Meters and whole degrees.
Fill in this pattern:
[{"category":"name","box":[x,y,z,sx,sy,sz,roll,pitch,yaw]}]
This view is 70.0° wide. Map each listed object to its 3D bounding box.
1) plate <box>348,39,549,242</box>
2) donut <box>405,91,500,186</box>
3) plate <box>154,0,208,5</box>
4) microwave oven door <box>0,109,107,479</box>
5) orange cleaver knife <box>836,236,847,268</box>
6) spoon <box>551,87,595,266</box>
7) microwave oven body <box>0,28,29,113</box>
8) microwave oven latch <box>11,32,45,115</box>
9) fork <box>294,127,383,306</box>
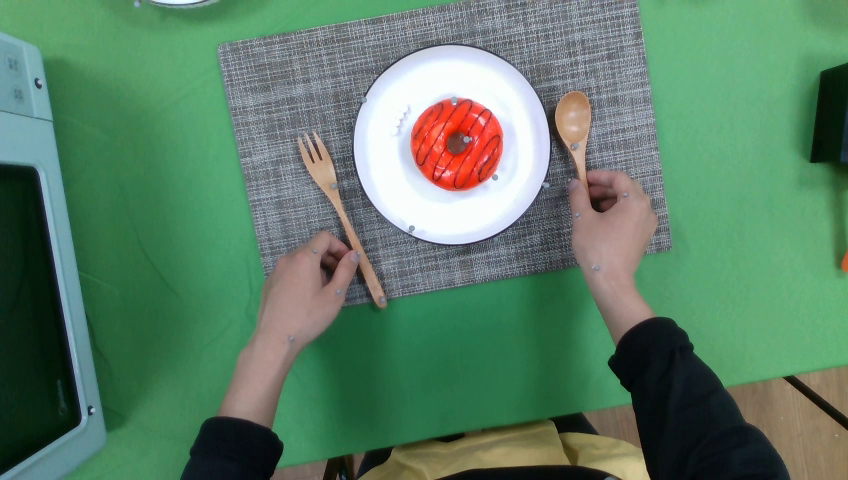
[{"category":"plate","box":[0.025,-0.103,0.641,0.209,0.038,0.209,0,96,0]},{"category":"donut","box":[0.030,-0.104,0.629,0.099,0.048,0.099,0,97,2]},{"category":"plate","box":[-0.250,-0.345,0.620,0.208,0.039,0.208,0,95,0]},{"category":"microwave oven door","box":[-0.388,0.058,0.536,0.039,0.243,0.356,-7,95,0]},{"category":"orange cleaver knife","box":[0.472,-0.068,0.628,0.012,0.076,0.213,5,124,2]},{"category":"spoon","box":[0.166,-0.066,0.652,0.042,0.021,0.194,-11,95,-17]},{"category":"microwave oven body","box":[-0.538,0.033,0.538,0.326,0.259,0.442,-7,96,0]},{"category":"microwave oven latch","box":[-0.412,-0.168,0.617,0.030,0.029,0.079,-6,96,0]},{"category":"fork","box":[-0.090,-0.023,0.656,0.028,0.018,0.207,-26,95,-24]}]
